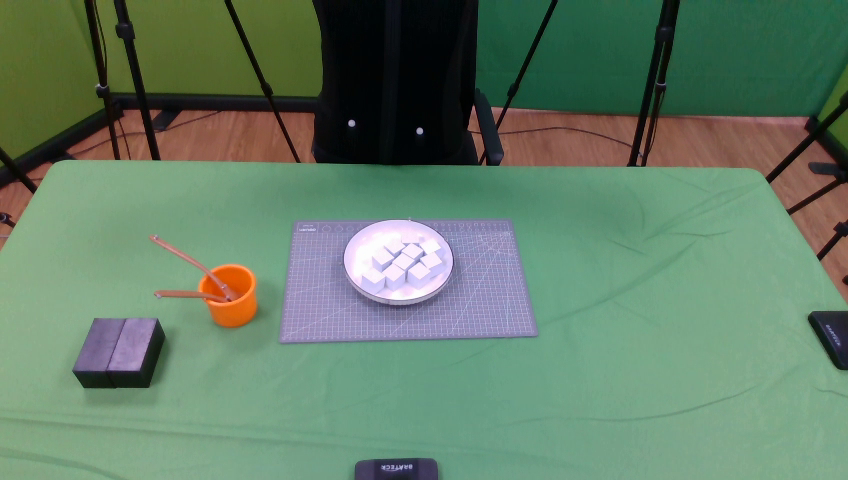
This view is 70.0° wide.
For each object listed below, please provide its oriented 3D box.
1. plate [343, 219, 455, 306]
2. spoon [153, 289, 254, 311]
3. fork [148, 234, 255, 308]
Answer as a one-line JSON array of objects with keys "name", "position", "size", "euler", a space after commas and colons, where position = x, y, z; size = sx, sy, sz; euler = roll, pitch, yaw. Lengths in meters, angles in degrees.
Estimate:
[{"name": "plate", "position": [-0.047, 0.045, 1.136], "size": [0.208, 0.039, 0.206], "euler": [2, 46, -2]}, {"name": "spoon", "position": [-0.355, 0.094, 0.990], "size": [0.021, 0.195, 0.041], "euler": [-49, 59, 10]}, {"name": "fork", "position": [-0.372, 0.054, 1.020], "size": [0.208, 0.018, 0.028], "euler": [43, 22, -22]}]
